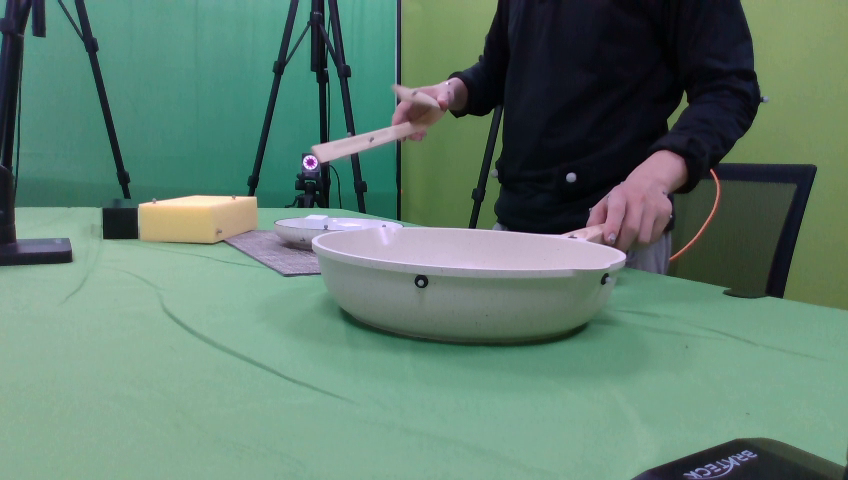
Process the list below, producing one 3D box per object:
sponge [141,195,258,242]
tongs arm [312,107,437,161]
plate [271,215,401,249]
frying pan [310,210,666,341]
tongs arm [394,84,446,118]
[{"bbox_3d":[-0.380,-0.040,1.047,0.118,0.061,0.207,1,8,3],"label":"sponge"},{"bbox_3d":[-0.061,-0.173,0.950,0.050,0.026,0.385,-33,2,24],"label":"tongs arm"},{"bbox_3d":[-0.141,-0.012,0.978,0.208,0.039,0.207,3,7,0],"label":"plate"},{"bbox_3d":[0.120,0.011,0.643,0.490,0.102,0.305,-13,16,-36],"label":"frying pan"},{"bbox_3d":[-0.001,-0.210,0.924,0.028,0.028,0.388,-37,2,13],"label":"tongs arm"}]
